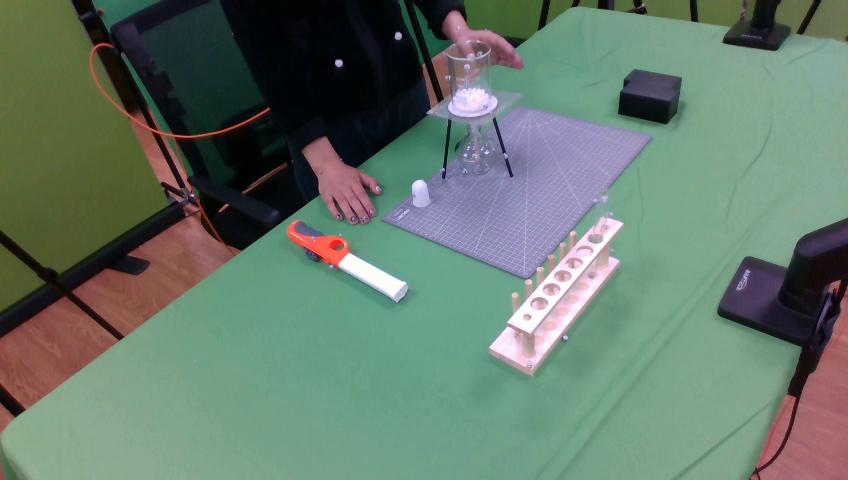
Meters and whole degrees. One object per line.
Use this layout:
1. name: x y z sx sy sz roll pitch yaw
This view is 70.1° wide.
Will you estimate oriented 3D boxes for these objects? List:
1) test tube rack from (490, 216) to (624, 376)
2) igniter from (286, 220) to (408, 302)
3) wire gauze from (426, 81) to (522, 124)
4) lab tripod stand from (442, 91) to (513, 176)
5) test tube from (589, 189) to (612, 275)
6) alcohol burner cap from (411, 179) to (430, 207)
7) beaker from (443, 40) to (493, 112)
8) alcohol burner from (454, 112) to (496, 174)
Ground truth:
1. test tube rack: 0.184 0.064 0.822 0.066 0.085 0.243 24 50 33
2. igniter: -0.134 0.028 0.969 0.274 0.025 0.057 26 61 35
3. wire gauze: 0.088 -0.237 1.051 0.120 0.011 0.125 23 47 29
4. lab tripod stand: 0.096 -0.190 1.096 0.148 0.132 0.147 -4 40 4
5. test tube: 0.238 -0.007 0.818 0.017 0.151 0.017 -3 43 4
6. alcohol burner cap: -0.008 -0.085 1.063 0.034 0.048 0.033 -4 40 4
7. beaker: 0.076 -0.275 1.023 0.083 0.101 0.074 5 42 16
8. alcohol burner: 0.092 -0.181 1.102 0.078 0.119 0.077 -5 42 5
